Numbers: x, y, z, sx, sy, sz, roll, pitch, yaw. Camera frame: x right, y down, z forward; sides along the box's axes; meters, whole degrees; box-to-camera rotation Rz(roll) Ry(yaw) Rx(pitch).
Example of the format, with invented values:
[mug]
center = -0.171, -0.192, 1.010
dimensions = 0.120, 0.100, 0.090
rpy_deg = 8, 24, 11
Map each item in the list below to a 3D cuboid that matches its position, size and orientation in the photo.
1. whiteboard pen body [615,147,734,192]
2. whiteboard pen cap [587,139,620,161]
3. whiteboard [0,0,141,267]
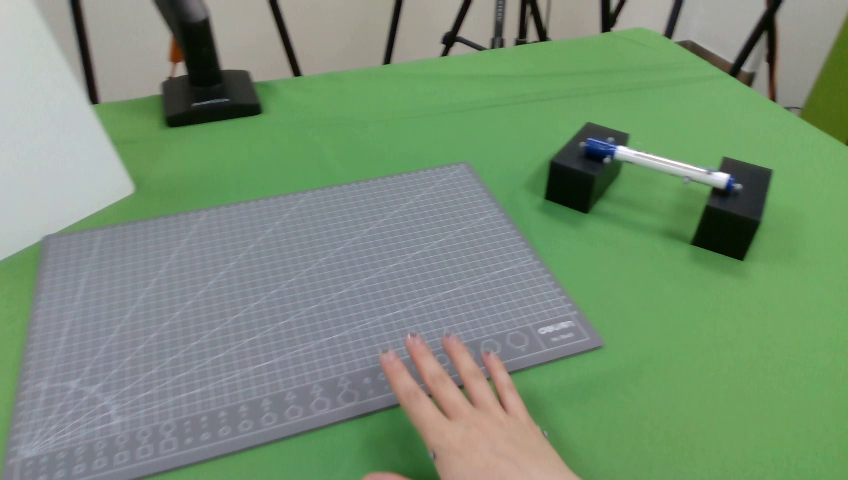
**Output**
[whiteboard pen body]
center = 0.239, -0.075, 0.611
dimensions = 0.140, 0.017, 0.017
rpy_deg = 21, 44, 22
[whiteboard pen cap]
center = 0.188, -0.093, 0.633
dimensions = 0.033, 0.018, 0.018
rpy_deg = 22, 44, 20
[whiteboard]
center = -0.462, -0.135, 0.569
dimensions = 0.143, 0.308, 0.217
rpy_deg = 10, 37, 41
